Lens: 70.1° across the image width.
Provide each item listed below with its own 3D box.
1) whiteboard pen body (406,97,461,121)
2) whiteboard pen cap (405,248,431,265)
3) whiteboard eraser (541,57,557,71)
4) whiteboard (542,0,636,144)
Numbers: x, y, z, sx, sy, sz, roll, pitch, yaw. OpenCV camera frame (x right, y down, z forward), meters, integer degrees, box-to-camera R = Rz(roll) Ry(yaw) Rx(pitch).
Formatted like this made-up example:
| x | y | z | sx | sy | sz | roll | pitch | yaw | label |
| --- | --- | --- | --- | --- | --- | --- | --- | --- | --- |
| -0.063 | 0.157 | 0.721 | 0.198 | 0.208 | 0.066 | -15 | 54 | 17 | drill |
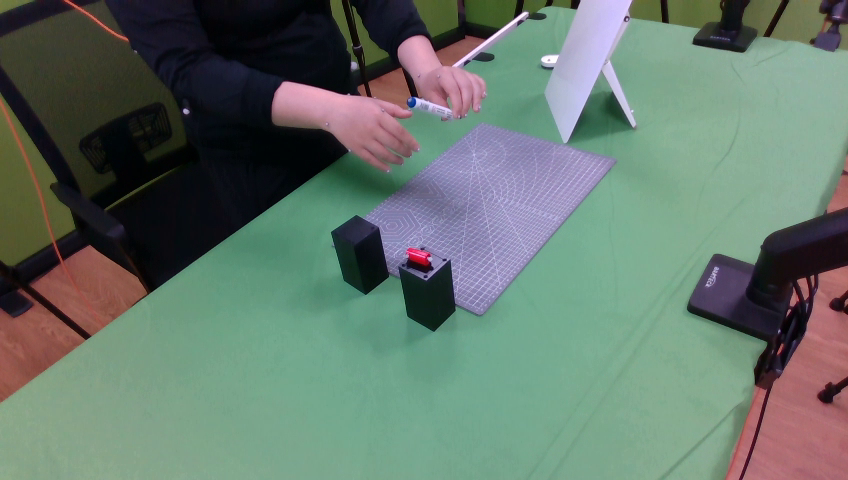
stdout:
| x | y | z | sx | sy | sz | roll | pitch | yaw | label |
| --- | --- | --- | --- | --- | --- | --- | --- | --- | --- |
| 0.019 | -0.196 | 0.918 | 0.016 | 0.017 | 0.142 | 24 | 13 | 32 | whiteboard pen body |
| -0.008 | 0.021 | 0.794 | 0.032 | 0.017 | 0.017 | 17 | 46 | 28 | whiteboard pen cap |
| 0.323 | -0.412 | 1.407 | 0.101 | 0.019 | 0.041 | 1 | 42 | 11 | whiteboard eraser |
| 0.366 | -0.351 | 1.160 | 0.144 | 0.305 | 0.216 | 10 | 39 | -10 | whiteboard |
